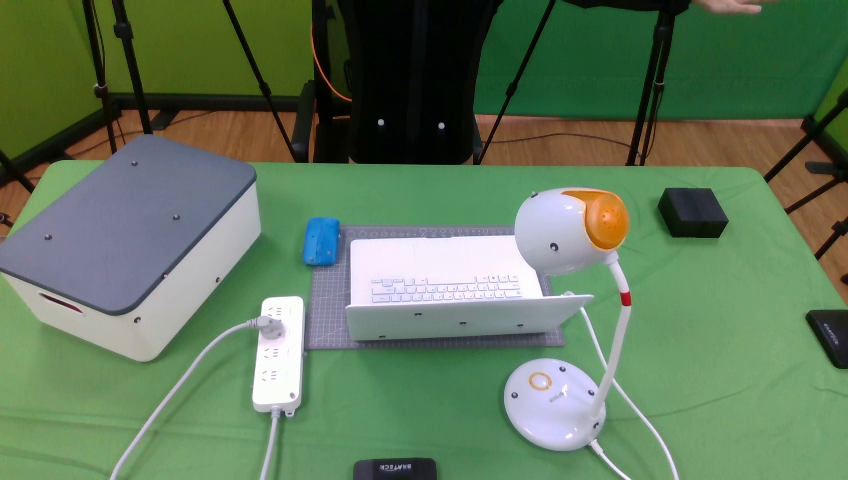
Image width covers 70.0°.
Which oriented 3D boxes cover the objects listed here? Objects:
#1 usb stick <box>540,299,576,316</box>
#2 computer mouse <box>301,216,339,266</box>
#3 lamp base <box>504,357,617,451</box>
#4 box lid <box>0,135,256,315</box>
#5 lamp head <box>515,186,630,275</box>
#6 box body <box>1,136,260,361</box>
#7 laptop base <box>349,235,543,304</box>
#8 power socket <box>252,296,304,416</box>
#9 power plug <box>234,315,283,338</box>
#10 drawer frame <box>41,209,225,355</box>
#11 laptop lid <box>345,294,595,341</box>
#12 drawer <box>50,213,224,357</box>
[{"bbox_3d":[0.239,0.121,1.083,0.059,0.027,0.021,-1,51,-2],"label":"usb stick"},{"bbox_3d":[-0.200,-0.002,1.169,0.063,0.041,0.116,3,50,-3],"label":"computer mouse"},{"bbox_3d":[0.220,0.211,0.902,0.160,0.181,0.178,-32,59,-30],"label":"lamp base"},{"bbox_3d":[-0.480,-0.044,1.002,0.263,0.015,0.370,18,47,12],"label":"box lid"},{"bbox_3d":[0.188,-0.013,0.728,0.112,0.112,0.122,-25,9,-25],"label":"lamp head"},{"bbox_3d":[-0.483,0.006,1.056,0.254,0.161,0.362,17,47,12],"label":"box body"},{"bbox_3d":[0.039,0.081,1.124,0.355,0.023,0.234,-2,43,-6],"label":"laptop base"},{"bbox_3d":[-0.238,0.182,0.997,0.072,0.033,0.225,-3,47,-5],"label":"power socket"},{"bbox_3d":[-0.269,0.143,1.000,0.072,0.053,0.035,4,47,2],"label":"power plug"},{"bbox_3d":[-0.490,0.066,1.043,0.201,0.083,0.212,16,54,13],"label":"drawer frame"},{"bbox_3d":[0.059,0.124,0.934,0.357,0.242,0.013,-1,69,-7],"label":"laptop lid"},{"bbox_3d":[-0.492,0.075,1.057,0.194,0.073,0.211,18,57,10],"label":"drawer"}]
